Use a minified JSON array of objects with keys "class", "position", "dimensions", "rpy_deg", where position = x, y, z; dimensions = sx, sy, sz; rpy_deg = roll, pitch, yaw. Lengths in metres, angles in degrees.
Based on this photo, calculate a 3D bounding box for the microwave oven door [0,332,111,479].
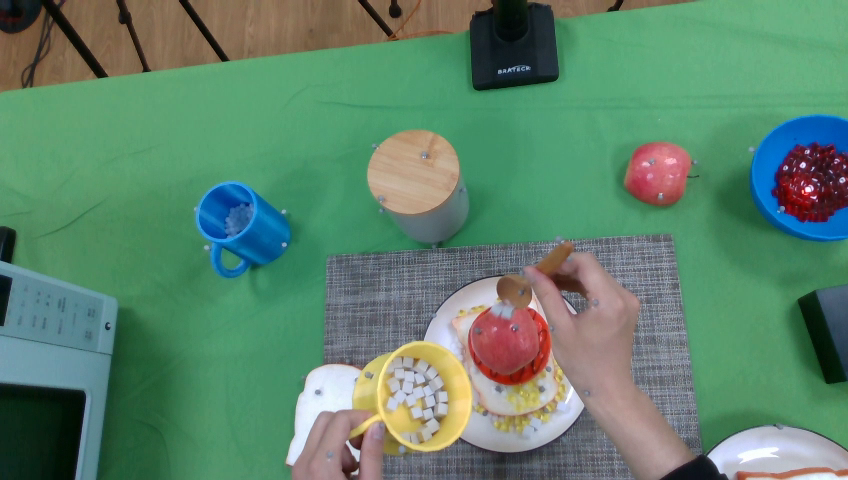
[{"class":"microwave oven door","position":[-0.458,0.284,0.662],"dimensions":[0.039,0.245,0.353],"rpy_deg":[-4,73,10]}]

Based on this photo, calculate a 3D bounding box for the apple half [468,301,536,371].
[{"class":"apple half","position":[0.086,0.104,0.673],"dimensions":[0.081,0.033,0.080],"rpy_deg":[-6,69,16]}]

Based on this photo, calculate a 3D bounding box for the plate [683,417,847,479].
[{"class":"plate","position":[0.376,0.294,0.638],"dimensions":[0.209,0.038,0.208],"rpy_deg":[-3,74,10]}]

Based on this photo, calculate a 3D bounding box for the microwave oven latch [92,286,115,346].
[{"class":"microwave oven latch","position":[-0.441,0.102,0.819],"dimensions":[0.030,0.030,0.078],"rpy_deg":[0,75,10]}]

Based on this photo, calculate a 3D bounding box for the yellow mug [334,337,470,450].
[{"class":"yellow mug","position":[-0.026,0.154,0.576],"dimensions":[0.131,0.064,0.099],"rpy_deg":[-22,83,-33]}]

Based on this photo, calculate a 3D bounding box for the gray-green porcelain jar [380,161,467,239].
[{"class":"gray-green porcelain jar","position":[-0.002,-0.064,0.762],"dimensions":[0.106,0.127,0.105],"rpy_deg":[-3,73,9]}]

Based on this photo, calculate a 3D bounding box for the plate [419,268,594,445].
[{"class":"plate","position":[0.096,0.138,0.729],"dimensions":[0.207,0.039,0.206],"rpy_deg":[-3,74,9]}]

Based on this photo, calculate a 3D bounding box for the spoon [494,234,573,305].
[{"class":"spoon","position":[0.100,0.031,0.561],"dimensions":[0.041,0.194,0.021],"rpy_deg":[44,75,6]}]

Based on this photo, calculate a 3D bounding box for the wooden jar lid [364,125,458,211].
[{"class":"wooden jar lid","position":[-0.014,-0.082,0.702],"dimensions":[0.108,0.021,0.107],"rpy_deg":[-2,72,7]}]

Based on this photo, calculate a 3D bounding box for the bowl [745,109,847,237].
[{"class":"bowl","position":[0.447,-0.067,0.708],"dimensions":[0.151,0.077,0.150],"rpy_deg":[-3,74,10]}]

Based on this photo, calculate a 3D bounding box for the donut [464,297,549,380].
[{"class":"donut","position":[0.096,0.114,0.707],"dimensions":[0.099,0.048,0.098],"rpy_deg":[-3,74,10]}]

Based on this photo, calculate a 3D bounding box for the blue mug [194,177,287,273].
[{"class":"blue mug","position":[-0.245,-0.011,0.801],"dimensions":[0.082,0.106,0.116],"rpy_deg":[17,78,15]}]

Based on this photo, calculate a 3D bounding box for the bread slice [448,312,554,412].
[{"class":"bread slice","position":[0.099,0.140,0.739],"dimensions":[0.107,0.018,0.133],"rpy_deg":[-20,64,0]}]

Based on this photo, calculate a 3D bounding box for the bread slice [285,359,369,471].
[{"class":"bread slice","position":[-0.116,0.214,0.757],"dimensions":[0.104,0.019,0.131],"rpy_deg":[4,77,10]}]

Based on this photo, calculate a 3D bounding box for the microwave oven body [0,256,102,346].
[{"class":"microwave oven body","position":[-0.601,0.254,0.702],"dimensions":[0.325,0.262,0.439],"rpy_deg":[-4,74,9]}]

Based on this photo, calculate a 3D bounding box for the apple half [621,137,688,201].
[{"class":"apple half","position":[0.289,-0.095,0.758],"dimensions":[0.074,0.054,0.080],"rpy_deg":[18,78,17]}]
